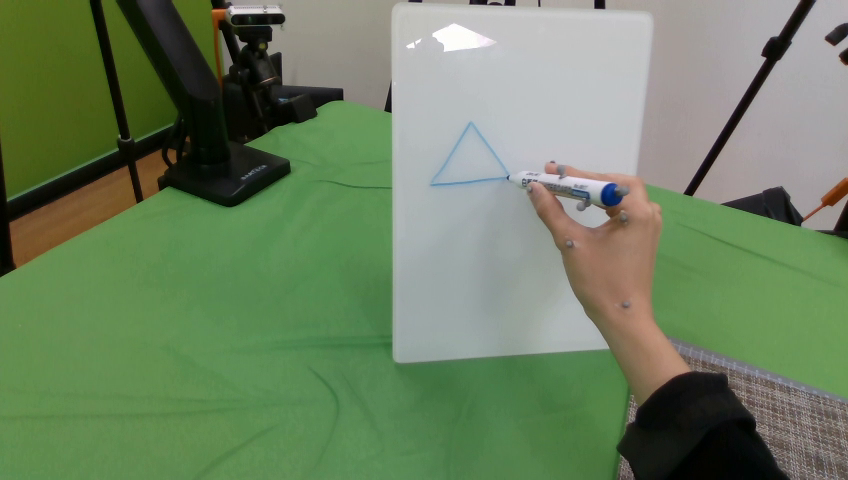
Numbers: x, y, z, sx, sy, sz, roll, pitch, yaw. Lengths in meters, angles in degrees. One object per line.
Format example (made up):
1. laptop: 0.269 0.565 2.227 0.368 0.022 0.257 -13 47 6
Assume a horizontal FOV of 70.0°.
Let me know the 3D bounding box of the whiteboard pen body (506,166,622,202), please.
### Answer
1. whiteboard pen body: 0.095 -0.044 0.446 0.017 0.017 0.139 -10 14 -20

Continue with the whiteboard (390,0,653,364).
1. whiteboard: 0.069 -0.059 0.579 0.218 0.307 0.143 -2 17 -9
